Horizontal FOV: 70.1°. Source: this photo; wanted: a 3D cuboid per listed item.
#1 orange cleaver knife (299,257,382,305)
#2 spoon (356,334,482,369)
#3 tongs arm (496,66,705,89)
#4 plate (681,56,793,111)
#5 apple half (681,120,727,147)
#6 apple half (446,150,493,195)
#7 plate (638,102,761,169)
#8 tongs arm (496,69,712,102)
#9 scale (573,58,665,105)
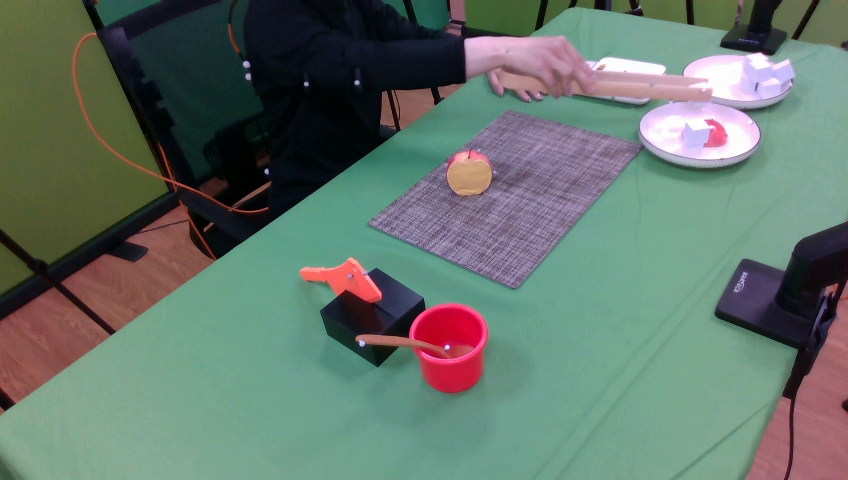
[{"bbox_3d":[-0.124,0.062,0.872,0.012,0.077,0.210,-38,17,-29],"label":"orange cleaver knife"},{"bbox_3d":[-0.001,0.130,0.731,0.195,0.021,0.041,22,27,-39],"label":"spoon"},{"bbox_3d":[0.324,-0.290,1.107,0.388,0.028,0.028,4,39,-3],"label":"tongs arm"},{"bbox_3d":[0.636,-0.317,1.239,0.207,0.039,0.206,-4,40,4],"label":"plate"},{"bbox_3d":[0.518,-0.203,1.115,0.081,0.033,0.081,-1,40,1],"label":"apple half"},{"bbox_3d":[0.080,-0.123,1.065,0.081,0.075,0.053,-7,36,6],"label":"apple half"},{"bbox_3d":[0.500,-0.189,1.111,0.209,0.038,0.208,-4,41,4],"label":"plate"},{"bbox_3d":[0.323,-0.277,1.088,0.386,0.026,0.050,1,36,-7],"label":"tongs arm"},{"bbox_3d":[0.406,-0.348,1.314,0.199,0.032,0.149,19,47,28],"label":"scale"}]
